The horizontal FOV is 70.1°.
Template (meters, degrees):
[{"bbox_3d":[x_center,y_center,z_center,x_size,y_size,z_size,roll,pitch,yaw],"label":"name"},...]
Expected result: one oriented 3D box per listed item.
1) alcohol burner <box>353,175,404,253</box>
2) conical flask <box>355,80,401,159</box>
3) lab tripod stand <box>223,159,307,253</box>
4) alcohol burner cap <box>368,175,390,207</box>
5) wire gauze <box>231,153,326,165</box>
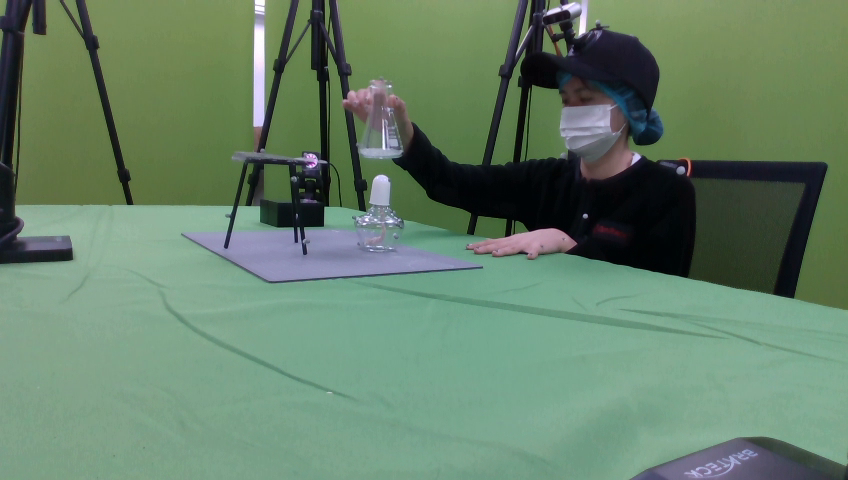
[{"bbox_3d":[-0.069,-0.040,0.926,0.078,0.119,0.078,1,9,0],"label":"alcohol burner"},{"bbox_3d":[-0.071,-0.195,0.976,0.075,0.122,0.075,5,11,-1],"label":"conical flask"},{"bbox_3d":[-0.220,-0.053,0.896,0.148,0.131,0.148,1,6,0],"label":"lab tripod stand"},{"bbox_3d":[-0.067,-0.075,0.923,0.034,0.048,0.034,8,11,-1],"label":"alcohol burner cap"},{"bbox_3d":[-0.215,-0.118,0.881,0.125,0.011,0.121,1,7,-19],"label":"wire gauze"}]
